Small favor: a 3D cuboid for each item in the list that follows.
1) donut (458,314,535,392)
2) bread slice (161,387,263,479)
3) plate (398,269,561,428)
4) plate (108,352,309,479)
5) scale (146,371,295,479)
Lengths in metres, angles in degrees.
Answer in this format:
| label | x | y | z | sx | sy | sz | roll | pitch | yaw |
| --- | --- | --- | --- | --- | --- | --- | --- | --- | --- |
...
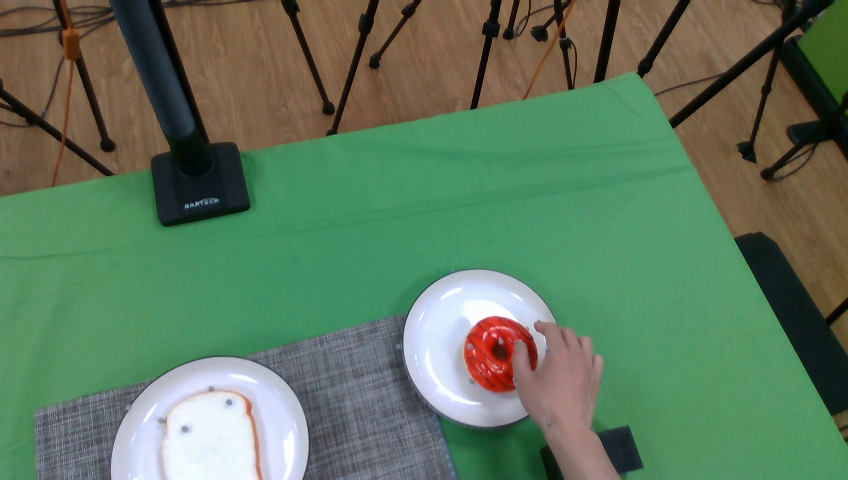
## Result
| label | x | y | z | sx | sy | sz | roll | pitch | yaw |
| --- | --- | --- | --- | --- | --- | --- | --- | --- | --- |
| donut | 0.092 | 0.142 | 0.767 | 0.099 | 0.048 | 0.098 | 3 | 67 | -8 |
| bread slice | -0.237 | 0.228 | 0.666 | 0.105 | 0.019 | 0.130 | -9 | 66 | -12 |
| plate | 0.069 | 0.138 | 0.779 | 0.208 | 0.039 | 0.206 | 3 | 64 | -5 |
| plate | -0.231 | 0.228 | 0.665 | 0.209 | 0.038 | 0.207 | 3 | 64 | -5 |
| scale | -0.228 | 0.258 | 0.687 | 0.149 | 0.032 | 0.199 | -13 | 67 | -12 |
